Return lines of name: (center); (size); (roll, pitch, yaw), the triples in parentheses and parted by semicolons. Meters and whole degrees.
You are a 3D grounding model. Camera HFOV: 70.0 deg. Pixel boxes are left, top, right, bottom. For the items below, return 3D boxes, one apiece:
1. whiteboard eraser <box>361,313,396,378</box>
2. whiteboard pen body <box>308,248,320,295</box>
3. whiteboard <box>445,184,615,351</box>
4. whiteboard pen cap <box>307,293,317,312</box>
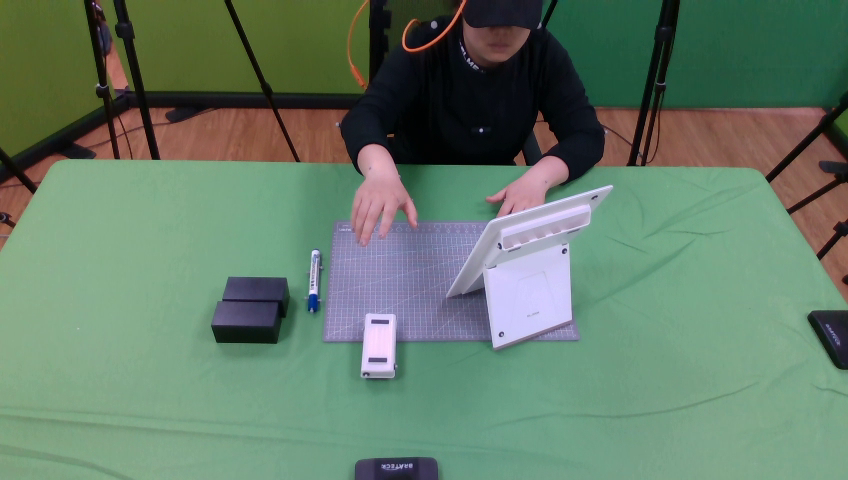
whiteboard eraser: (-0.075, 0.176, 1.006); (0.055, 0.042, 0.112); (3, 50, -4)
whiteboard pen body: (-0.204, 0.069, 1.119); (0.017, 0.017, 0.140); (-1, 46, -5)
whiteboard: (0.187, 0.065, 0.989); (0.217, 0.306, 0.143); (-15, 68, -18)
whiteboard pen cap: (-0.199, 0.110, 1.078); (0.018, 0.018, 0.033); (-1, 48, -5)
